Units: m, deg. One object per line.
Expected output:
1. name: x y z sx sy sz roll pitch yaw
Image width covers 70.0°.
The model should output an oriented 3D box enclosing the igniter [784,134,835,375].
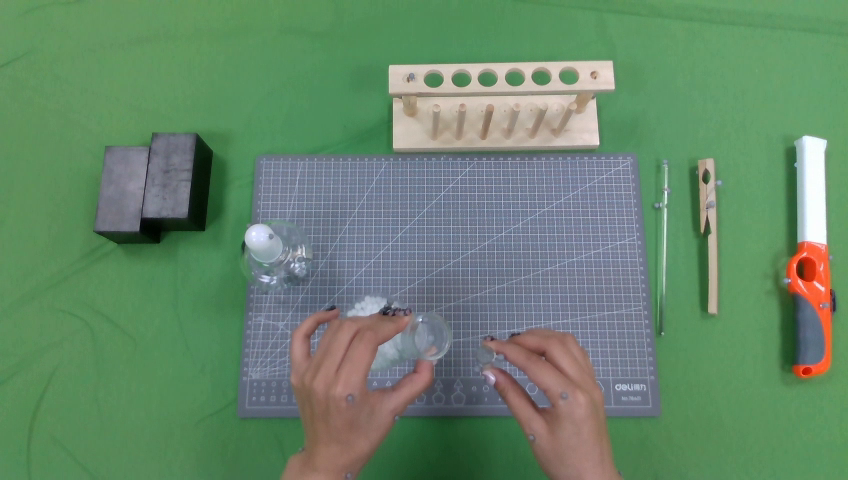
1. igniter: 0.428 0.012 0.675 0.057 0.025 0.275 10 76 -7

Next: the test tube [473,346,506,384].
1. test tube: 0.061 0.114 0.545 0.017 0.151 0.017 -4 70 11

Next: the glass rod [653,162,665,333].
1. glass rod: 0.267 0.006 0.687 0.008 0.008 0.199 6 78 2

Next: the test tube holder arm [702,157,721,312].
1. test tube holder arm: 0.324 -0.008 0.684 0.013 0.015 0.177 -9 72 36

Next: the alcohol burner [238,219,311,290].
1. alcohol burner: -0.161 0.010 0.633 0.078 0.120 0.077 -1 75 3

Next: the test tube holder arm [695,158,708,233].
1. test tube holder arm: 0.321 -0.051 0.698 0.010 0.015 0.087 -8 73 36

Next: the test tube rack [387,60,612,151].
1. test tube rack: 0.081 -0.151 0.689 0.242 0.085 0.066 -1 76 0

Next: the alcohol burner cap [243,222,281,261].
1. alcohol burner cap: -0.162 -0.001 0.598 0.034 0.048 0.033 1 71 -3

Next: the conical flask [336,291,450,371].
1. conical flask: -0.023 0.081 0.526 0.076 0.121 0.075 3 84 -28
